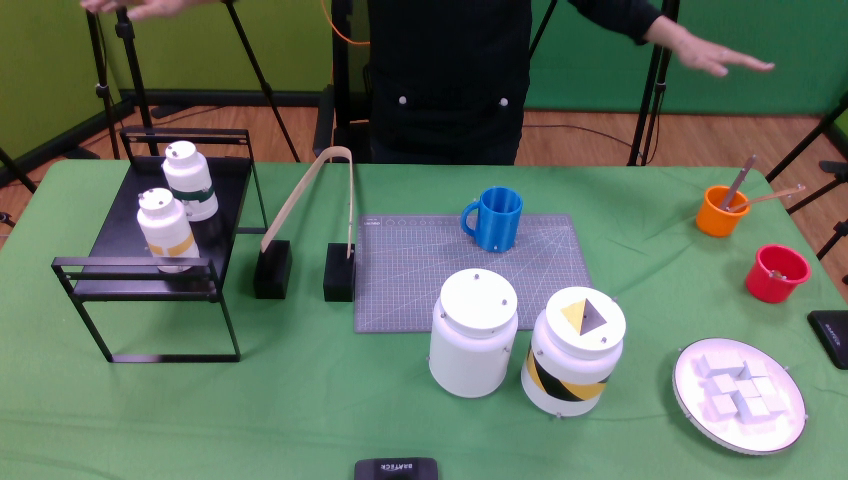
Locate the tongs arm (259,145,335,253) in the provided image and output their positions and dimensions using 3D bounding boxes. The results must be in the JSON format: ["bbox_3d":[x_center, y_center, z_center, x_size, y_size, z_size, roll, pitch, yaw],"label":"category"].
[{"bbox_3d":[-0.253,-0.097,1.233,0.028,0.028,0.385,5,36,10],"label":"tongs arm"}]

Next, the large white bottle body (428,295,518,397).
[{"bbox_3d":[0.076,0.147,0.950,0.131,0.185,0.130,2,46,-2],"label":"large white bottle body"}]

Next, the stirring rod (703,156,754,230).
[{"bbox_3d":[0.631,-0.098,1.258,0.014,0.006,0.176,33,95,29],"label":"stirring rod"}]

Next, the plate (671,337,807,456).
[{"bbox_3d":[0.503,0.254,0.984,0.208,0.039,0.206,2,46,-2],"label":"plate"}]

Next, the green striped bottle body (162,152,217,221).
[{"bbox_3d":[-0.363,-0.092,0.939,0.063,0.120,0.063,2,46,-2],"label":"green striped bottle body"}]

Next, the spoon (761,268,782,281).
[{"bbox_3d":[0.638,0.060,1.105,0.041,0.021,0.194,38,11,24],"label":"spoon"}]

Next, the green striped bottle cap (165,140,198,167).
[{"bbox_3d":[-0.361,-0.128,0.902,0.044,0.020,0.044,3,47,-3],"label":"green striped bottle cap"}]

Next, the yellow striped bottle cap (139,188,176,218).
[{"bbox_3d":[-0.363,-0.051,0.826,0.044,0.019,0.044,1,47,-1],"label":"yellow striped bottle cap"}]

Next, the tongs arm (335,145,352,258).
[{"bbox_3d":[-0.170,-0.092,1.234,0.051,0.026,0.382,-1,37,-3],"label":"tongs arm"}]

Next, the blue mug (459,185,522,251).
[{"bbox_3d":[0.127,-0.042,1.185,0.116,0.106,0.082,0,47,-4],"label":"blue mug"}]

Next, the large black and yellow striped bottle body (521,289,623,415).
[{"bbox_3d":[0.228,0.173,0.938,0.131,0.185,0.130,2,47,-2],"label":"large black and yellow striped bottle body"}]

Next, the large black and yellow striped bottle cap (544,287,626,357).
[{"bbox_3d":[0.232,0.116,0.876,0.115,0.019,0.114,1,46,-1],"label":"large black and yellow striped bottle cap"}]

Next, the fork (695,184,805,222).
[{"bbox_3d":[0.657,-0.075,1.230,0.207,0.019,0.028,-23,34,37],"label":"fork"}]

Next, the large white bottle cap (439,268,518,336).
[{"bbox_3d":[0.080,0.089,0.888,0.115,0.018,0.114,2,47,-2],"label":"large white bottle cap"}]

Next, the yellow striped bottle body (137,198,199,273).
[{"bbox_3d":[-0.366,-0.014,0.864,0.063,0.121,0.062,2,46,-2],"label":"yellow striped bottle body"}]
